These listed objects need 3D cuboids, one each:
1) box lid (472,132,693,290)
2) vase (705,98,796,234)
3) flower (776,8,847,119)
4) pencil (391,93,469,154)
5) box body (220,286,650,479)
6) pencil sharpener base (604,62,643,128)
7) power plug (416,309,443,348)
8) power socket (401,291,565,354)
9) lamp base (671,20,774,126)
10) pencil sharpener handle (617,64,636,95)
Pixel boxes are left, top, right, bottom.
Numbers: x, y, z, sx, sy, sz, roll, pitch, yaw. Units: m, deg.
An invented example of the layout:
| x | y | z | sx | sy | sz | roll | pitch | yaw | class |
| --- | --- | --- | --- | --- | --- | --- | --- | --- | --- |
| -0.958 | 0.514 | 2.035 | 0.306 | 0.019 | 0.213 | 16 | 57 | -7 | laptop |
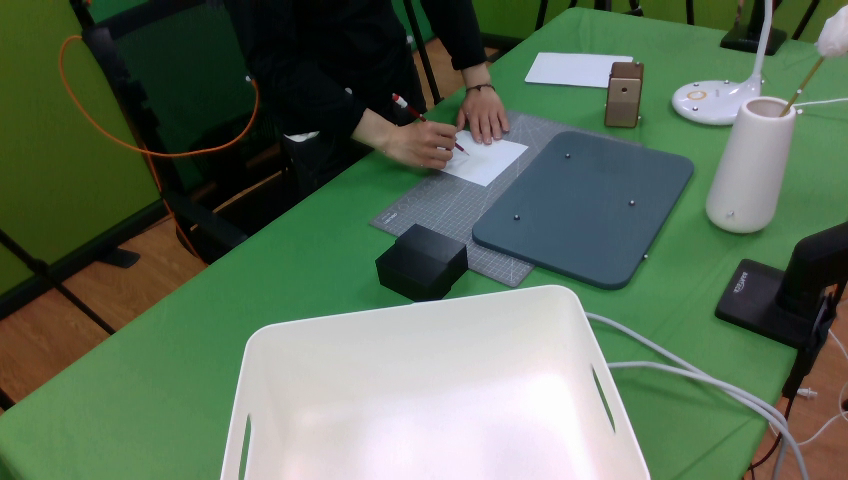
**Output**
| x | y | z | sx | sy | sz | roll | pitch | yaw | class |
| --- | --- | --- | --- | --- | --- | --- | --- | --- | --- |
| 0.273 | -0.068 | 1.020 | 0.261 | 0.015 | 0.372 | 20 | 47 | 28 | box lid |
| 0.480 | -0.104 | 0.889 | 0.098 | 0.201 | 0.097 | -4 | 42 | 4 | vase |
| 0.476 | -0.156 | 0.822 | 0.038 | 0.362 | 0.044 | 8 | 58 | 2 | flower |
| 0.015 | -0.209 | 1.105 | 0.012 | 0.196 | 0.012 | -34 | 39 | 33 | pencil |
| 0.006 | 0.210 | 0.618 | 0.364 | 0.161 | 0.252 | -8 | 40 | -1 | box body |
| 0.390 | -0.284 | 1.182 | 0.061 | 0.107 | 0.076 | 7 | 42 | 17 | pencil sharpener base |
| 0.004 | 0.121 | 0.787 | 0.035 | 0.053 | 0.072 | 2 | 46 | 8 | power plug |
| 0.079 | 0.111 | 0.823 | 0.227 | 0.033 | 0.072 | -5 | 41 | 1 | power socket |
| 0.581 | -0.332 | 1.154 | 0.179 | 0.181 | 0.160 | 2 | 41 | 7 | lamp base |
| 0.401 | -0.326 | 1.211 | 0.036 | 0.068 | 0.030 | 16 | 44 | 8 | pencil sharpener handle |
